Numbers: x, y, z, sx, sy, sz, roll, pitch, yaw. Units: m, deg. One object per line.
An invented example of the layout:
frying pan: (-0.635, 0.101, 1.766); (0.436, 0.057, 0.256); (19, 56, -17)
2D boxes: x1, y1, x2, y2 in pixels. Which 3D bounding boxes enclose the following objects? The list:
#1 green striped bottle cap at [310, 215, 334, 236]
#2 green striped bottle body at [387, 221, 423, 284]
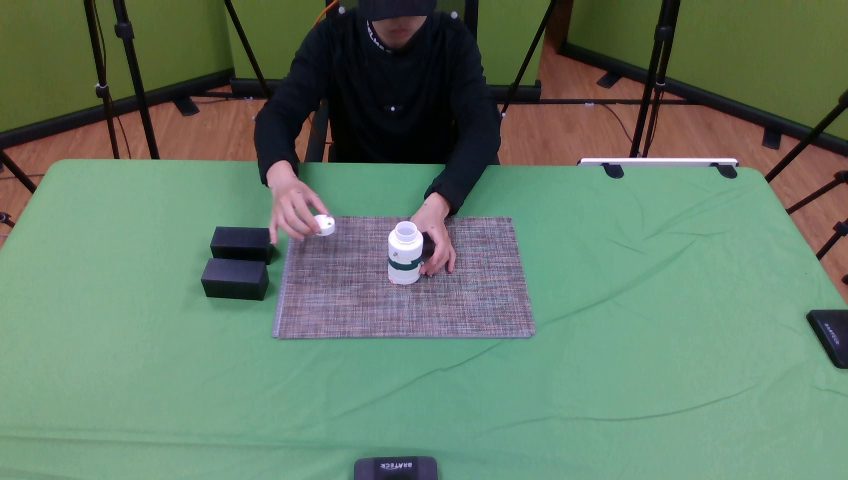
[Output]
green striped bottle cap: (-0.185, -0.026, 1.097); (0.044, 0.020, 0.044); (4, 37, -3)
green striped bottle body: (-0.035, 0.021, 1.103); (0.063, 0.120, 0.063); (2, 46, -2)
